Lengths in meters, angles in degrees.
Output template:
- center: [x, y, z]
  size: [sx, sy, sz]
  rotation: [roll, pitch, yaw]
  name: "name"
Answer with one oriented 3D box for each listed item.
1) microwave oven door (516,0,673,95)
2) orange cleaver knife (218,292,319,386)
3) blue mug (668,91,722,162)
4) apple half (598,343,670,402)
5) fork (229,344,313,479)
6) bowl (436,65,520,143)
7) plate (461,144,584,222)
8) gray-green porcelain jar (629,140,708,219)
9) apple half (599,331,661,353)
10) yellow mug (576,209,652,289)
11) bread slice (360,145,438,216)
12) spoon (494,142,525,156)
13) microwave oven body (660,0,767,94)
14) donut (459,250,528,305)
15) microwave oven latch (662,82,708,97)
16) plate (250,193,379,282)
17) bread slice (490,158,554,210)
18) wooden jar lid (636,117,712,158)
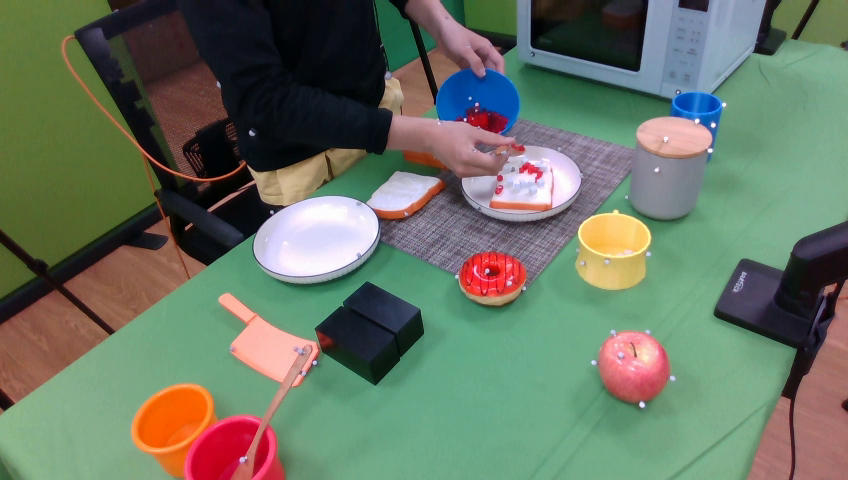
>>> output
- center: [0.344, -0.458, 1.256]
  size: [0.353, 0.245, 0.039]
  rotation: [26, 52, 33]
  name: "microwave oven door"
- center: [-0.235, 0.136, 0.850]
  size: [0.209, 0.012, 0.077]
  rotation: [25, 57, 30]
  name: "orange cleaver knife"
- center: [0.474, -0.207, 1.079]
  size: [0.082, 0.106, 0.116]
  rotation: [4, 42, 13]
  name: "blue mug"
- center: [0.247, 0.161, 0.710]
  size: [0.081, 0.075, 0.053]
  rotation: [2, 47, 5]
  name: "apple half"
- center: [-0.173, 0.205, 0.662]
  size: [0.028, 0.019, 0.207]
  rotation: [29, 94, 35]
  name: "fork"
- center: [0.095, -0.231, 1.095]
  size: [0.151, 0.077, 0.150]
  rotation: [0, 68, 1]
  name: "bowl"
- center: [0.167, -0.095, 1.040]
  size: [0.207, 0.039, 0.206]
  rotation: [-4, 41, 4]
  name: "plate"
- center: [0.383, -0.105, 0.958]
  size: [0.106, 0.127, 0.105]
  rotation: [-4, 41, 4]
  name: "gray-green porcelain jar"
- center: [0.249, 0.134, 0.738]
  size: [0.081, 0.081, 0.032]
  rotation: [-1, 46, 7]
  name: "apple half"
- center: [0.279, 0.004, 0.893]
  size: [0.099, 0.064, 0.130]
  rotation: [5, 42, 14]
  name: "yellow mug"
- center: [-0.053, -0.103, 1.046]
  size: [0.106, 0.018, 0.134]
  rotation: [19, 67, 23]
  name: "bread slice"
- center: [0.126, -0.141, 0.931]
  size: [0.041, 0.021, 0.194]
  rotation: [9, 11, 15]
  name: "spoon"
- center: [0.473, -0.516, 1.313]
  size: [0.438, 0.261, 0.327]
  rotation: [26, 51, 34]
  name: "microwave oven body"
- center: [0.100, 0.053, 0.872]
  size: [0.099, 0.048, 0.098]
  rotation: [-5, 40, 5]
  name: "donut"
- center: [0.518, -0.298, 1.202]
  size: [0.078, 0.029, 0.030]
  rotation: [28, 53, 35]
  name: "microwave oven latch"
- center: [-0.174, 0.000, 0.984]
  size: [0.209, 0.038, 0.208]
  rotation: [-3, 40, 3]
  name: "plate"
- center: [0.173, -0.100, 1.047]
  size: [0.104, 0.019, 0.131]
  rotation: [4, 43, 12]
  name: "bread slice"
- center: [0.377, -0.151, 0.917]
  size: [0.108, 0.021, 0.108]
  rotation: [-2, 42, 3]
  name: "wooden jar lid"
